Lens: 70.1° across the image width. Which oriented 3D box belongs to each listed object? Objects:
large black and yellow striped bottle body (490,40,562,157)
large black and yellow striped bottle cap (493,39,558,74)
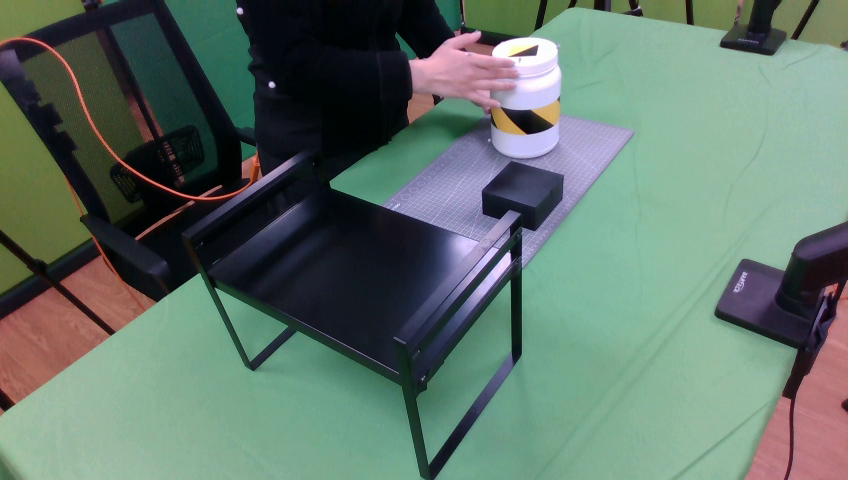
[{"bbox_3d":[0.190,-0.263,1.124,0.131,0.185,0.130,-5,40,4],"label":"large black and yellow striped bottle body"},{"bbox_3d":[0.179,-0.326,1.069,0.115,0.019,0.114,-4,38,4],"label":"large black and yellow striped bottle cap"}]
